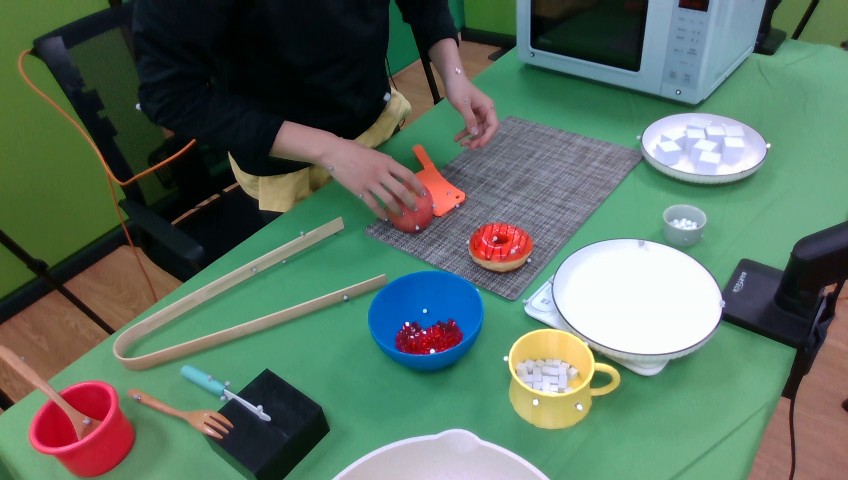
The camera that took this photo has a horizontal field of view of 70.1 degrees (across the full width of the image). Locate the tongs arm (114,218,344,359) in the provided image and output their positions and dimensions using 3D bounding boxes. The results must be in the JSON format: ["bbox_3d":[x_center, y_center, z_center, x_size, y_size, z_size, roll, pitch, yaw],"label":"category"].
[{"bbox_3d":[-0.280,0.068,0.927,0.386,0.026,0.050,-29,49,-23],"label":"tongs arm"}]

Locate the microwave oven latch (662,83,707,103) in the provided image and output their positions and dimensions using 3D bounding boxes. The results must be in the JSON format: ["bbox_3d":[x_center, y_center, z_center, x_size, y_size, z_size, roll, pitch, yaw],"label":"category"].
[{"bbox_3d":[0.517,-0.296,1.204,0.078,0.029,0.030,28,52,35],"label":"microwave oven latch"}]

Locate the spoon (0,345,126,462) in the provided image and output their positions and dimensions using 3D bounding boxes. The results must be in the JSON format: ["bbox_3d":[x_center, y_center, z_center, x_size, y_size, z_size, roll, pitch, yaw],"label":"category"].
[{"bbox_3d":[-0.434,0.192,0.720,0.194,0.021,0.042,47,53,-6],"label":"spoon"}]

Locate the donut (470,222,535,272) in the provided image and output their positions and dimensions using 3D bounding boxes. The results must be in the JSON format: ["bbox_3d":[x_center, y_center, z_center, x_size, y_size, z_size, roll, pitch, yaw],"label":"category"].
[{"bbox_3d":[0.119,0.009,0.923,0.099,0.048,0.098,-4,38,3],"label":"donut"}]

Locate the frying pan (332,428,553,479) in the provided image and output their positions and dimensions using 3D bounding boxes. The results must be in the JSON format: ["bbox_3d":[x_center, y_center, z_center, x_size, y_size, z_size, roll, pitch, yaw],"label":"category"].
[{"bbox_3d":[-0.089,0.306,0.564,0.487,0.103,0.306,10,41,7],"label":"frying pan"}]

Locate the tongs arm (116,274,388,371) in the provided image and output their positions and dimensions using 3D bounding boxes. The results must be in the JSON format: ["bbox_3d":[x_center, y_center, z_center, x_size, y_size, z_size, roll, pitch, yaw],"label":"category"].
[{"bbox_3d":[-0.236,0.115,0.870,0.389,0.028,0.028,-18,49,-13],"label":"tongs arm"}]

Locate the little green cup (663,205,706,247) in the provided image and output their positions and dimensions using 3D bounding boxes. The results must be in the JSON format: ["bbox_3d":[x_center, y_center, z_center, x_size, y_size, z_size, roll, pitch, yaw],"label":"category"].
[{"bbox_3d":[0.396,-0.020,0.926,0.061,0.039,0.061,-4,40,4],"label":"little green cup"}]

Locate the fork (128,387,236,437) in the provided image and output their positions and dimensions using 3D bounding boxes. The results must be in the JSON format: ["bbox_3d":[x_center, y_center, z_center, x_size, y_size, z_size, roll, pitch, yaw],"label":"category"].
[{"bbox_3d":[-0.305,0.207,0.744,0.206,0.019,0.028,3,42,36],"label":"fork"}]

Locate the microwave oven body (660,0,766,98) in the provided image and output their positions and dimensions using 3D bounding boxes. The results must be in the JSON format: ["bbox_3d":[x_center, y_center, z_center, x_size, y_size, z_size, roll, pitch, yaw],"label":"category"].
[{"bbox_3d":[0.472,-0.513,1.317,0.438,0.261,0.327,26,51,34],"label":"microwave oven body"}]

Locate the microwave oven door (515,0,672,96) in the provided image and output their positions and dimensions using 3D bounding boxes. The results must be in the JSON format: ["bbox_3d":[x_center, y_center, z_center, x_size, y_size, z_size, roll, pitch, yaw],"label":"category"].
[{"bbox_3d":[0.344,-0.455,1.259,0.353,0.245,0.039,26,51,33],"label":"microwave oven door"}]

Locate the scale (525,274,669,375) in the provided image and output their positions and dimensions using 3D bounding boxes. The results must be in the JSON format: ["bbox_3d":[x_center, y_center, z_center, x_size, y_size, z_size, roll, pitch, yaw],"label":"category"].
[{"bbox_3d":[0.254,0.091,0.821,0.199,0.032,0.149,28,51,35],"label":"scale"}]

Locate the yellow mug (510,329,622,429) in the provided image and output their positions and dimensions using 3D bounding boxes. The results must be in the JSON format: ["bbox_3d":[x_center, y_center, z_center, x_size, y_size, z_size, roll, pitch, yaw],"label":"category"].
[{"bbox_3d":[0.169,0.164,0.721,0.130,0.064,0.099,0,40,8],"label":"yellow mug"}]

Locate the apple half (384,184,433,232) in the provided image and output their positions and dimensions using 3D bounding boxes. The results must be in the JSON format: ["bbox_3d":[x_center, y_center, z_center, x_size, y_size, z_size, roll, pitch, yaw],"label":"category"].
[{"bbox_3d":[-0.023,-0.046,0.987,0.081,0.075,0.053,-8,44,-6],"label":"apple half"}]

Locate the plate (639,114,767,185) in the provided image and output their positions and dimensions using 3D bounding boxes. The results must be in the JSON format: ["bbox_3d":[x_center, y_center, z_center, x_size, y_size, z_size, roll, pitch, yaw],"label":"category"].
[{"bbox_3d":[0.489,-0.157,1.074,0.207,0.039,0.206,-4,40,4],"label":"plate"}]

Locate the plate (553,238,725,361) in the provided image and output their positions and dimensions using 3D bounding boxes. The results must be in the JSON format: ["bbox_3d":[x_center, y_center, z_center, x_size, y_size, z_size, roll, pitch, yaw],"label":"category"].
[{"bbox_3d":[0.273,0.078,0.783,0.209,0.038,0.208,-4,41,4],"label":"plate"}]

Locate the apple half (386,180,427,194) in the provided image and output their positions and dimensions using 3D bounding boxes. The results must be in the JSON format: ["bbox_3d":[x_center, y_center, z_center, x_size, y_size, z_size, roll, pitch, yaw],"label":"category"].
[{"bbox_3d":[-0.028,-0.072,1.016,0.081,0.081,0.032,-10,45,-2],"label":"apple half"}]

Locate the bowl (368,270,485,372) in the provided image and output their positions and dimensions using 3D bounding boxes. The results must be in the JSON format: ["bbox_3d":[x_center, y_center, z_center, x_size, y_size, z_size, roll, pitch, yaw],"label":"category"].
[{"bbox_3d":[0.007,0.118,0.791,0.151,0.077,0.150,-4,40,4],"label":"bowl"}]

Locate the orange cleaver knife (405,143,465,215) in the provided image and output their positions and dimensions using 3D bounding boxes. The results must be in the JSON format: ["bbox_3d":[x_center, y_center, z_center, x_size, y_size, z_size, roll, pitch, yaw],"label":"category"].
[{"bbox_3d":[0.005,-0.113,1.102,0.077,0.012,0.209,-23,45,-10],"label":"orange cleaver knife"}]

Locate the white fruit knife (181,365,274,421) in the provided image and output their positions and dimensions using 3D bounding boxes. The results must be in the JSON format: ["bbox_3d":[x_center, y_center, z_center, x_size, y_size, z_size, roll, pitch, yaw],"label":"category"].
[{"bbox_3d":[-0.245,0.187,0.747,0.205,0.027,0.016,9,41,40],"label":"white fruit knife"}]
